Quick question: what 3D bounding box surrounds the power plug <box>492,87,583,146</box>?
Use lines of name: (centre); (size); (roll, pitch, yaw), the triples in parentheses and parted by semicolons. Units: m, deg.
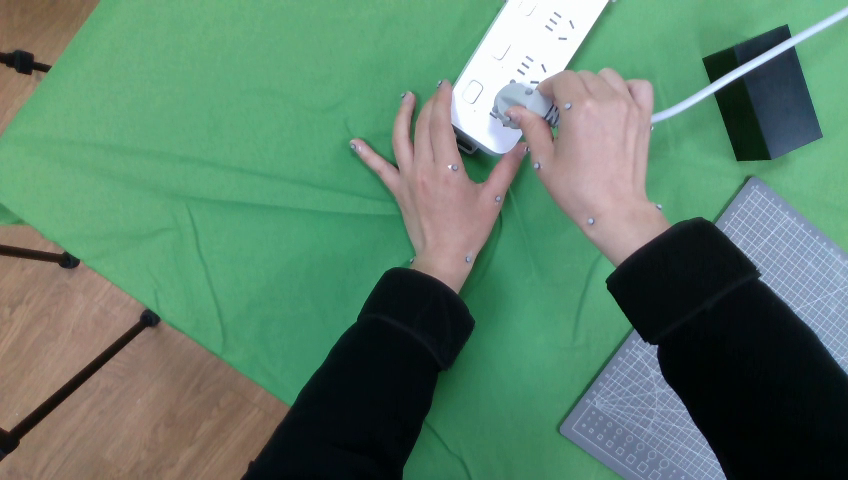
power plug: (0.084, -0.090, 0.486); (0.035, 0.052, 0.073); (-43, 97, -13)

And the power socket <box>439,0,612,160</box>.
power socket: (0.095, -0.170, 0.514); (0.072, 0.032, 0.226); (33, 92, -9)
